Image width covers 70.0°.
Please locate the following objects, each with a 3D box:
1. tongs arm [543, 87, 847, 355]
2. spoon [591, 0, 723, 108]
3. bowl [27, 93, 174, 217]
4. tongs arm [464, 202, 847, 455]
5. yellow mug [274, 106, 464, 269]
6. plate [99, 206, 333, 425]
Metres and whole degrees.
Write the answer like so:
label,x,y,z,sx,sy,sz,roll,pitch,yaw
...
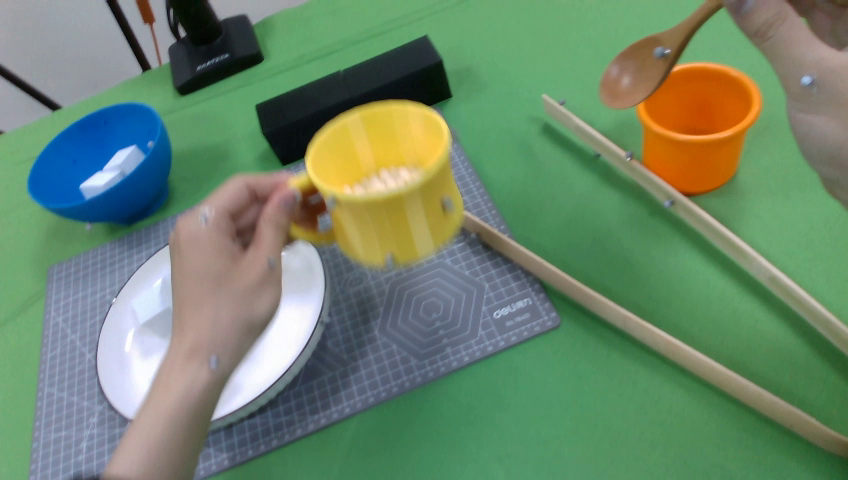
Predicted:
label,x,y,z,sx,sy,sz,roll,pitch,yaw
tongs arm,0.200,-0.010,0.474,0.051,0.027,0.380,-33,54,-10
spoon,0.143,-0.116,0.300,0.022,0.194,0.041,3,78,-15
bowl,-0.328,-0.077,0.651,0.151,0.077,0.150,-8,53,11
tongs arm,0.138,0.039,0.458,0.384,0.028,0.028,34,65,32
yellow mug,-0.039,-0.033,0.418,0.131,0.064,0.099,-21,46,-7
plate,-0.174,0.062,0.526,0.207,0.039,0.205,-8,53,11
